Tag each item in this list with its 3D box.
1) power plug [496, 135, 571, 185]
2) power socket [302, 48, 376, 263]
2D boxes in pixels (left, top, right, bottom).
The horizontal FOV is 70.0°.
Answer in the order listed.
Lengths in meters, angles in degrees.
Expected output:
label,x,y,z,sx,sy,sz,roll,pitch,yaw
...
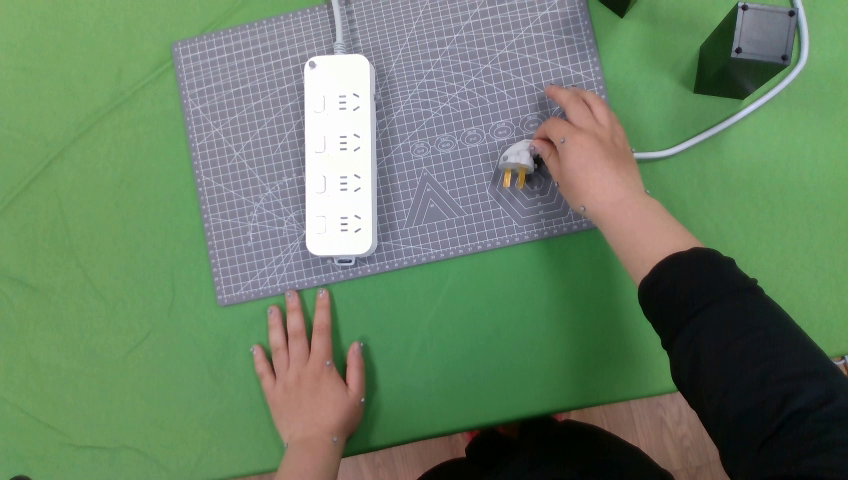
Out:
label,x,y,z,sx,sy,sz,roll,pitch,yaw
power plug,0.109,-0.079,0.609,0.072,0.035,0.052,6,80,14
power socket,-0.089,-0.089,0.635,0.072,0.032,0.226,-2,87,5
